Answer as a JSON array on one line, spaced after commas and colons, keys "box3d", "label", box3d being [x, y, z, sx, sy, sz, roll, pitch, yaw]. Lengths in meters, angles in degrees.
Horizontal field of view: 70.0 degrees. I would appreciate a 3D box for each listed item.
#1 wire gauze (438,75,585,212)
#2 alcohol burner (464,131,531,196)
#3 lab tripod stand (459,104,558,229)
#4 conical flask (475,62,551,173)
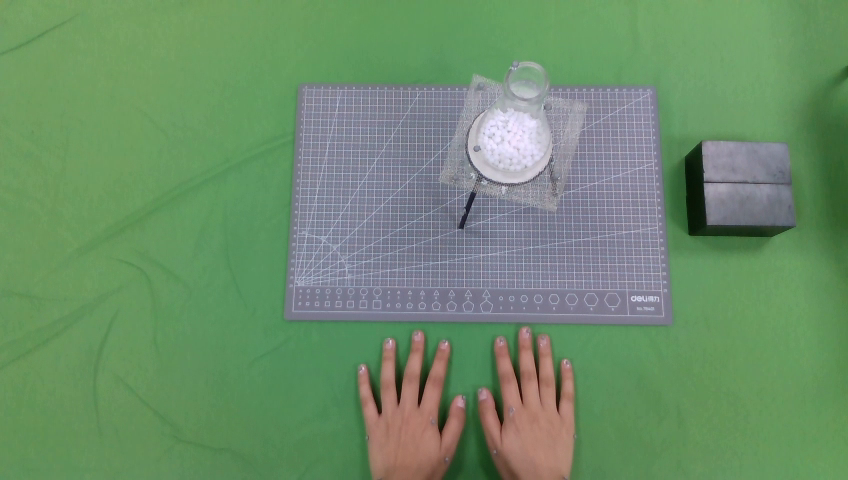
[{"box3d": [0.089, -0.098, 0.608, 0.121, 0.011, 0.124, 18, 76, 4], "label": "wire gauze"}, {"box3d": [0.084, -0.093, 0.685, 0.078, 0.119, 0.077, 0, 78, 2], "label": "alcohol burner"}, {"box3d": [0.085, -0.085, 0.673, 0.148, 0.132, 0.147, -1, 77, 3], "label": "lab tripod stand"}, {"box3d": [0.086, -0.114, 0.552, 0.075, 0.122, 0.075, 0, 76, 2], "label": "conical flask"}]
